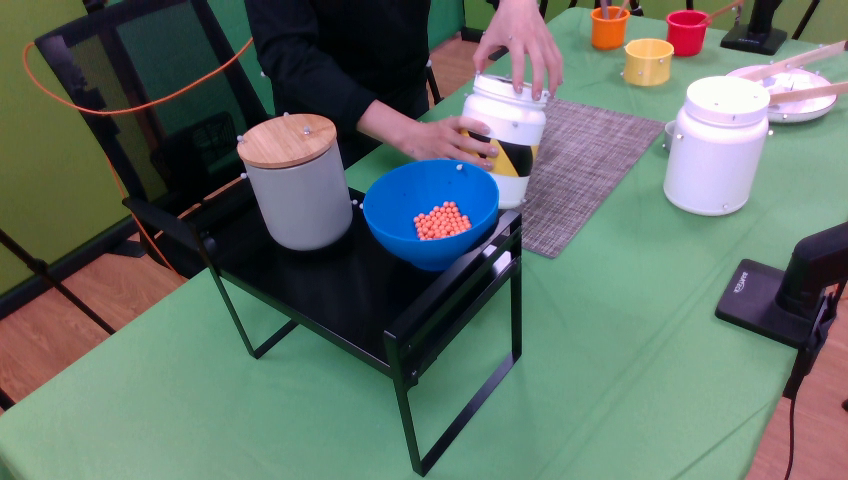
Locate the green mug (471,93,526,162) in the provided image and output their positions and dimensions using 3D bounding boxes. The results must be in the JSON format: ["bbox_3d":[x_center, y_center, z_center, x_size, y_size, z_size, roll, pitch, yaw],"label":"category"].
[{"bbox_3d":[0.143,-0.201,1.122,0.093,0.105,0.124,-28,45,-23],"label":"green mug"}]

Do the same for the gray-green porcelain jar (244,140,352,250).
[{"bbox_3d":[-0.144,-0.060,0.714,0.106,0.127,0.105,-4,41,4],"label":"gray-green porcelain jar"}]

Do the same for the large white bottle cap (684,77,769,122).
[{"bbox_3d":[0.448,-0.210,0.898,0.115,0.018,0.114,-4,40,4],"label":"large white bottle cap"}]

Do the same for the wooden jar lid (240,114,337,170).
[{"bbox_3d":[-0.149,-0.106,0.673,0.108,0.021,0.108,-6,38,5],"label":"wooden jar lid"}]

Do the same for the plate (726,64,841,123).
[{"bbox_3d":[0.695,-0.282,1.189,0.207,0.039,0.206,-4,40,4],"label":"plate"}]

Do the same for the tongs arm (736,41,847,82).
[{"bbox_3d":[0.712,-0.332,1.194,0.386,0.026,0.050,-19,45,-16],"label":"tongs arm"}]

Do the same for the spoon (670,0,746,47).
[{"bbox_3d":[0.629,-0.485,1.350,0.022,0.193,0.042,47,54,-7],"label":"spoon"}]

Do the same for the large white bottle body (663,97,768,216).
[{"bbox_3d":[0.458,-0.146,0.952,0.130,0.185,0.130,-4,40,4],"label":"large white bottle body"}]

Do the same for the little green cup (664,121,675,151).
[{"bbox_3d":[0.473,-0.188,1.113,0.061,0.039,0.061,-5,40,5],"label":"little green cup"}]

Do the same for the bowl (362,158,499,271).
[{"bbox_3d":[0.011,-0.019,0.679,0.151,0.077,0.150,-5,41,5],"label":"bowl"}]

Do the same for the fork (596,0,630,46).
[{"bbox_3d":[0.481,-0.556,1.452,0.028,0.019,0.207,40,103,38],"label":"fork"}]

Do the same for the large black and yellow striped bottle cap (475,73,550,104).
[{"bbox_3d":[0.136,-0.232,0.922,0.115,0.019,0.114,11,23,-4],"label":"large black and yellow striped bottle cap"}]

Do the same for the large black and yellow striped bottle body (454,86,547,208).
[{"bbox_3d":[0.118,-0.155,0.952,0.131,0.184,0.130,11,22,-4],"label":"large black and yellow striped bottle body"}]

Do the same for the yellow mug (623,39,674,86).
[{"bbox_3d":[0.484,-0.398,1.334,0.100,0.064,0.130,-18,41,-11],"label":"yellow mug"}]

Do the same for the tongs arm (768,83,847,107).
[{"bbox_3d":[0.739,-0.281,1.135,0.388,0.028,0.028,-9,47,-5],"label":"tongs arm"}]

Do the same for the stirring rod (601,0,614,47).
[{"bbox_3d":[0.440,-0.552,1.463,0.014,0.006,0.175,-7,83,2],"label":"stirring rod"}]
